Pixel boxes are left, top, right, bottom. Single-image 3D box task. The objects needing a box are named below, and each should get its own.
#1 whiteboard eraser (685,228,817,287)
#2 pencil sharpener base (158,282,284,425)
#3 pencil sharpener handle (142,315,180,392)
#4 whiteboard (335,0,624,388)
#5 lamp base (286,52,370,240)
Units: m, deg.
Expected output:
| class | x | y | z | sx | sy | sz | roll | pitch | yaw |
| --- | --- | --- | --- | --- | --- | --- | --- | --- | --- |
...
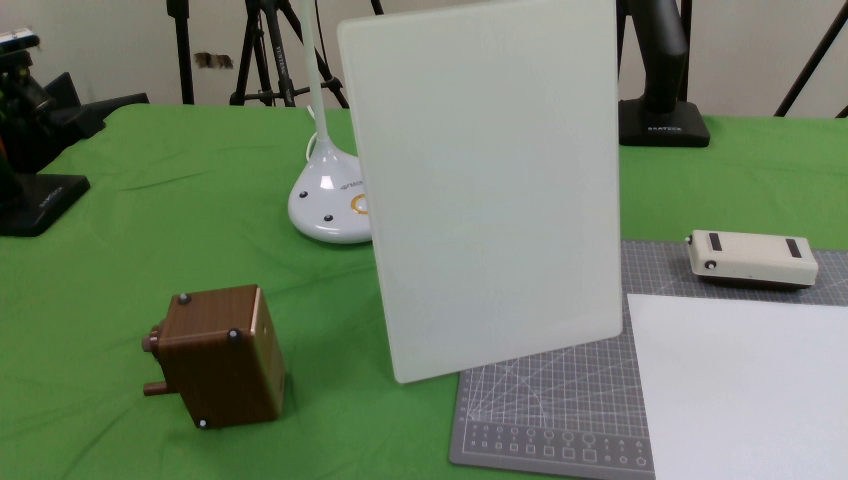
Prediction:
| class | x | y | z | sx | sy | sz | roll | pitch | yaw |
| --- | --- | --- | --- | --- | --- | --- | --- | --- | --- |
| whiteboard eraser | 0.326 | 0.018 | 0.611 | 0.112 | 0.042 | 0.055 | 5 | 40 | 11 |
| pencil sharpener base | -0.164 | 0.095 | 0.498 | 0.077 | 0.108 | 0.060 | -7 | 39 | -4 |
| pencil sharpener handle | -0.215 | 0.093 | 0.484 | 0.031 | 0.068 | 0.035 | -7 | 26 | -4 |
| whiteboard | 0.049 | -0.053 | 0.559 | 0.217 | 0.307 | 0.142 | -11 | 19 | -8 |
| lamp base | -0.101 | -0.117 | 0.706 | 0.161 | 0.182 | 0.177 | -29 | 42 | -29 |
